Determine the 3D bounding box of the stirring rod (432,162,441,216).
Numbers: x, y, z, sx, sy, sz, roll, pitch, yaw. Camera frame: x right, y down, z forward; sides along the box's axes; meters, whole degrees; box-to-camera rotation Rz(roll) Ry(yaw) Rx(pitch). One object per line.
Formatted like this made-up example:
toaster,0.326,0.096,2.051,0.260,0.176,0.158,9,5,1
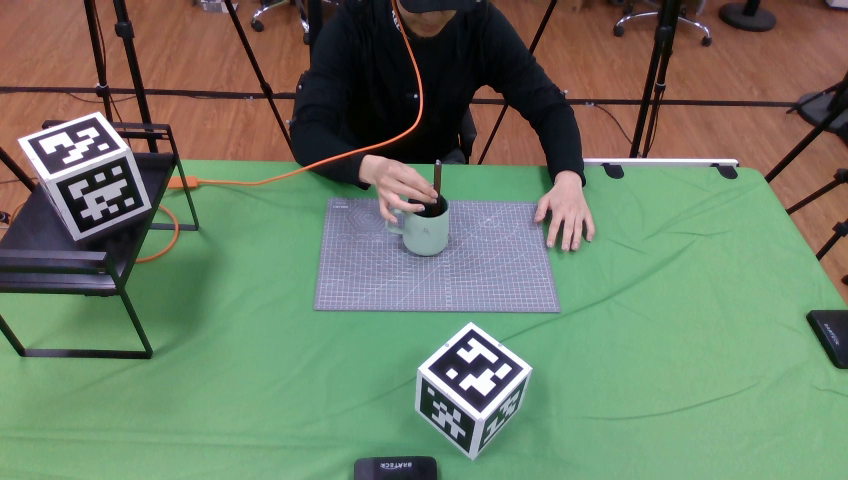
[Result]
stirring rod,0.023,-0.073,1.131,0.014,0.177,0.006,8,44,7

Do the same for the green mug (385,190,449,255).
green mug,-0.013,-0.033,1.166,0.125,0.105,0.092,1,46,-2
